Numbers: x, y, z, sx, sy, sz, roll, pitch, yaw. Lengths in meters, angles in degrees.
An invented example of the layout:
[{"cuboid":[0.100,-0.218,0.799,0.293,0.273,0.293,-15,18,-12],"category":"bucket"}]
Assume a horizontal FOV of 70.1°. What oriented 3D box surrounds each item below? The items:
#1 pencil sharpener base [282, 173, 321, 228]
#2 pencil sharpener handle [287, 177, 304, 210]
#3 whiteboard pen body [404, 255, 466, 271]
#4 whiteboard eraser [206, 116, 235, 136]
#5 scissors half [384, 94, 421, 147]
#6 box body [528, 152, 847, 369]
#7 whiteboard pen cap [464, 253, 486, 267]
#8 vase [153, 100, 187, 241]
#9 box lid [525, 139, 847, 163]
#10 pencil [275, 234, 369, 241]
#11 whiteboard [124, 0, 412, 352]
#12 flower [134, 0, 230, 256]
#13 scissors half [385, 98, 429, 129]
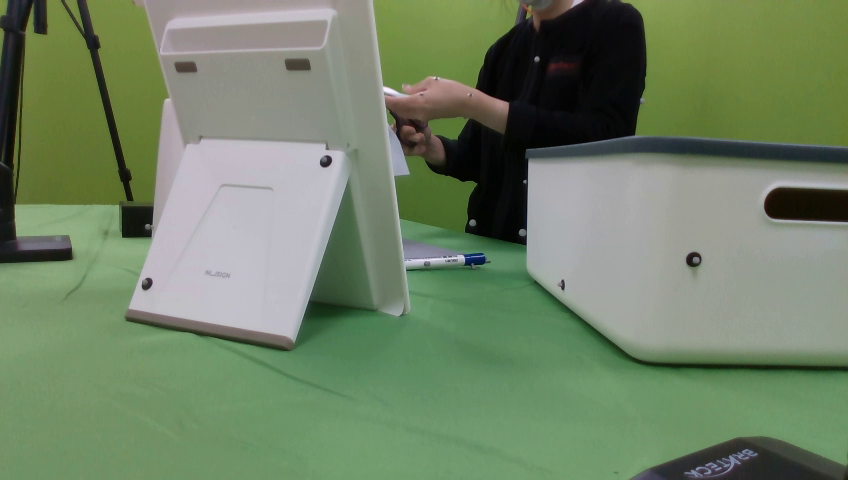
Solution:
[{"cuboid":[-0.247,-0.080,1.212,0.061,0.107,0.076,-2,5,-28],"category":"pencil sharpener base"},{"cuboid":[-0.269,-0.096,1.257,0.036,0.067,0.030,-8,8,-27],"category":"pencil sharpener handle"},{"cuboid":[0.012,0.030,0.792,0.141,0.017,0.017,-3,9,-24],"category":"whiteboard pen body"},{"cuboid":[-0.450,-0.252,1.335,0.056,0.042,0.112,1,7,-22],"category":"whiteboard eraser"},{"cuboid":[-0.060,-0.225,1.065,0.012,0.040,0.176,16,-24,46],"category":"scissors half"},{"cuboid":[0.258,-0.005,0.591,0.254,0.160,0.363,2,7,-4],"category":"box body"},{"cuboid":[0.066,0.027,0.818,0.033,0.018,0.018,-6,10,-24],"category":"whiteboard pen cap"},{"cuboid":[-0.278,-0.066,0.736,0.098,0.200,0.098,2,9,0],"category":"vase"},{"cuboid":[0.261,-0.078,0.580,0.264,0.015,0.371,2,7,-4],"category":"box lid"},{"cuboid":[-0.169,-0.006,1.036,0.195,0.012,0.012,-2,8,-45],"category":"pencil"},{"cuboid":[-0.151,-0.049,0.472,0.216,0.305,0.144,6,27,24],"category":"whiteboard"},{"cuboid":[-0.282,-0.147,0.713,0.038,0.362,0.044,-23,24,-31],"category":"flower"},{"cuboid":[-0.051,-0.244,1.069,0.013,0.040,0.176,10,-7,45],"category":"scissors half"}]
